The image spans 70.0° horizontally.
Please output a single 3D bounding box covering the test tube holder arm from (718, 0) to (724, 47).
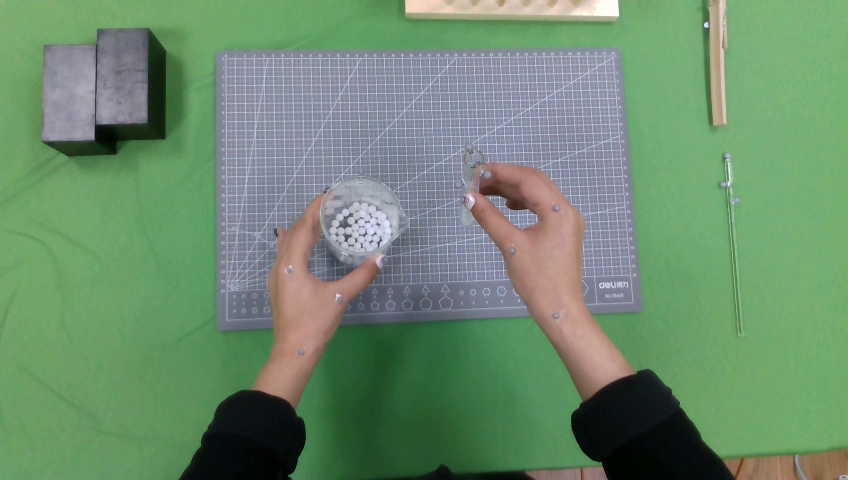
[{"bbox_3d":[0.340,-0.266,0.704,0.010,0.015,0.087,9,81,-33],"label":"test tube holder arm"}]

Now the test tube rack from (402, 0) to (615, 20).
[{"bbox_3d":[0.099,-0.291,0.654,0.243,0.085,0.066,-1,83,-5],"label":"test tube rack"}]

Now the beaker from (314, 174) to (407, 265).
[{"bbox_3d":[-0.062,-0.015,0.592,0.084,0.100,0.073,7,80,-7],"label":"beaker"}]

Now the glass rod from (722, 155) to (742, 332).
[{"bbox_3d":[0.343,0.002,0.676,0.008,0.008,0.199,-1,83,-5],"label":"glass rod"}]

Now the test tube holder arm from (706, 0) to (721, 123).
[{"bbox_3d":[0.333,-0.222,0.695,0.013,0.015,0.178,8,82,-33],"label":"test tube holder arm"}]

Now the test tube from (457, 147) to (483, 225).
[{"bbox_3d":[0.038,-0.041,0.514,0.017,0.151,0.017,0,73,2],"label":"test tube"}]
